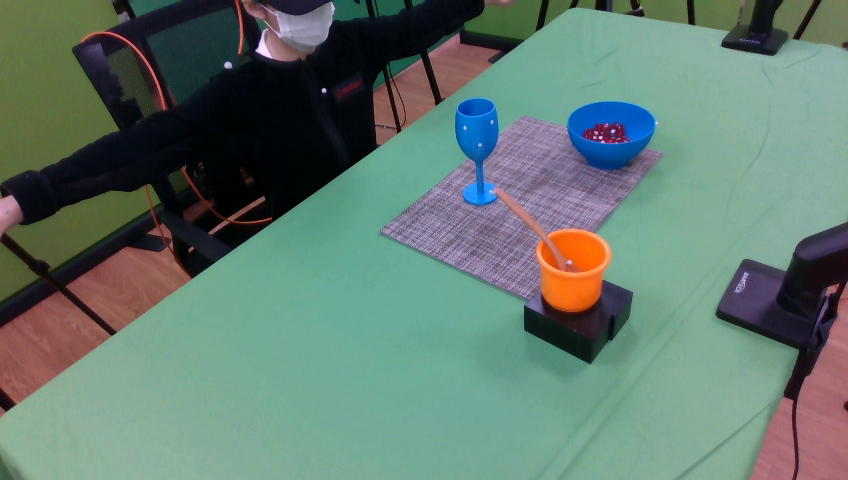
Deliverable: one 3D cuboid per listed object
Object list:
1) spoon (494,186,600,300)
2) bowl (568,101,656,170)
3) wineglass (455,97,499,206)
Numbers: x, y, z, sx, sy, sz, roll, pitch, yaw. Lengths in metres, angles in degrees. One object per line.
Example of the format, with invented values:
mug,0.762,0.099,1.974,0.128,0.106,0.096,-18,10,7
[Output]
spoon,0.157,0.002,0.773,0.042,0.194,0.021,-45,8,-35
bowl,0.332,-0.179,1.084,0.151,0.077,0.150,-4,40,4
wineglass,0.091,-0.145,1.009,0.074,0.173,0.073,-5,40,4
